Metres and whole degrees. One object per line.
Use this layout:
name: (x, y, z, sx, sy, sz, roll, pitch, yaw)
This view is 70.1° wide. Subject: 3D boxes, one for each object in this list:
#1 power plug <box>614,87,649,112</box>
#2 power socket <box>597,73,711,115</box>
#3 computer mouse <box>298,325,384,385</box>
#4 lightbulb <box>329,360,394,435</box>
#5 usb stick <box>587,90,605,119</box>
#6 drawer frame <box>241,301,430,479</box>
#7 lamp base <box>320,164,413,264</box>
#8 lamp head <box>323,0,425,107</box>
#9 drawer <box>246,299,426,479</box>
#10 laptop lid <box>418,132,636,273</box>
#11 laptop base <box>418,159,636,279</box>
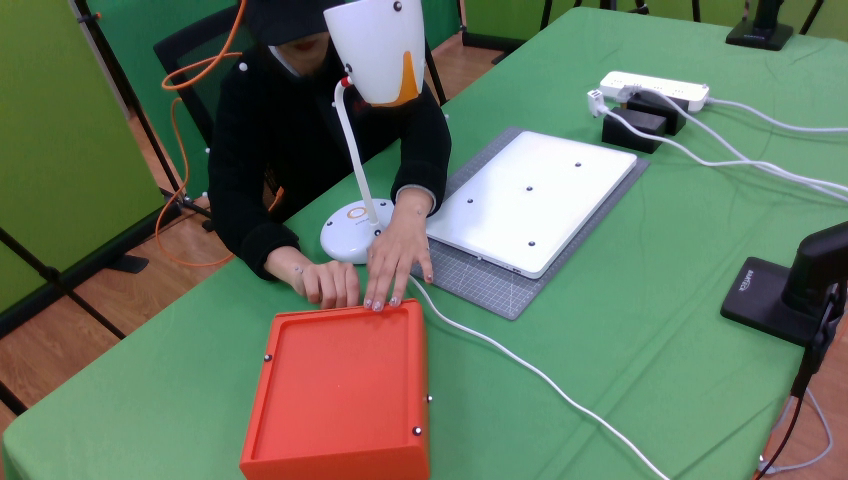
power plug: (0.406, -0.275, 1.192, 0.035, 0.053, 0.072, -16, 24, -16)
power socket: (0.469, -0.304, 1.249, 0.225, 0.033, 0.072, 20, 49, 30)
computer mouse: (-0.112, 0.151, 0.804, 0.117, 0.041, 0.062, -14, 40, 1)
lightbulb: (-0.082, 0.190, 0.743, 0.060, 0.060, 0.107, -32, 60, -24)
usb stick: (0.334, -0.258, 1.170, 0.021, 0.059, 0.027, -28, 44, -5)
drawer frame: (-0.096, 0.183, 0.740, 0.202, 0.083, 0.212, -7, 40, 3)
lamp base: (-0.102, -0.069, 0.963, 0.161, 0.181, 0.177, -29, 46, -19)
lamp head: (-0.051, -0.217, 0.708, 0.112, 0.123, 0.112, -9, 24, 4)
drawer: (-0.098, 0.178, 0.749, 0.194, 0.073, 0.210, -6, 40, 3)
laptop lid: (0.181, -0.084, 1.036, 0.239, 0.013, 0.358, 22, 49, 35)
laptop base: (0.185, -0.074, 1.042, 0.233, 0.023, 0.355, 19, 48, 35)
